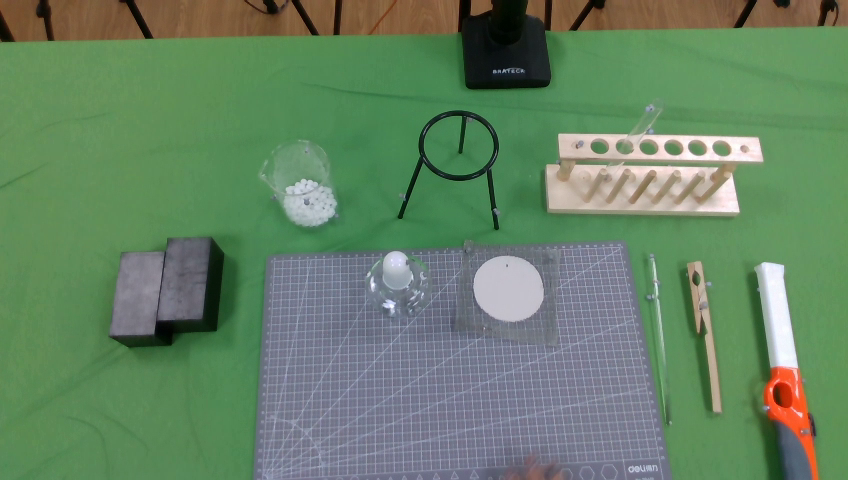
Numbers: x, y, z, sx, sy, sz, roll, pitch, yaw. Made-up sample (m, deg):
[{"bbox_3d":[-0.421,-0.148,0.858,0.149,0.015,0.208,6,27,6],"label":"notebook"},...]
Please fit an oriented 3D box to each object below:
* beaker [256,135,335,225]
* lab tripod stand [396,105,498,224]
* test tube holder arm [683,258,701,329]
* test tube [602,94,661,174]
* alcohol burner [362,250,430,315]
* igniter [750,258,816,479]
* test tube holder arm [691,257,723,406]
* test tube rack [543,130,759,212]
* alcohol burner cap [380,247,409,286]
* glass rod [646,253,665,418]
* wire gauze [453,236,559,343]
[{"bbox_3d":[-0.150,-0.067,0.733,0.084,0.101,0.073,-10,68,-4],"label":"beaker"},{"bbox_3d":[0.033,-0.084,0.726,0.148,0.132,0.147,0,69,-1],"label":"lab tripod stand"},{"bbox_3d":[0.327,0.065,0.734,0.010,0.015,0.087,-14,64,31],"label":"test tube holder arm"},{"bbox_3d":[0.241,-0.120,0.718,0.017,0.151,0.017,2,65,-5],"label":"test tube"},{"bbox_3d":[-0.032,0.041,0.680,0.078,0.120,0.077,0,67,1],"label":"alcohol burner"},{"bbox_3d":[0.409,0.151,0.694,0.057,0.025,0.274,8,67,-9],"label":"igniter"},{"bbox_3d":[0.332,0.105,0.715,0.013,0.015,0.177,-15,64,31],"label":"test tube holder arm"},{"bbox_3d":[0.278,-0.085,0.757,0.242,0.086,0.066,1,67,-1],"label":"test tube rack"},{"bbox_3d":[-0.032,0.026,0.647,0.034,0.048,0.033,1,61,-1],"label":"alcohol burner cap"},{"bbox_3d":[0.275,0.109,0.718,0.008,0.008,0.198,3,70,0],"label":"glass rod"},{"bbox_3d":[0.101,0.056,0.735,0.125,0.011,0.120,8,69,1],"label":"wire gauze"}]
